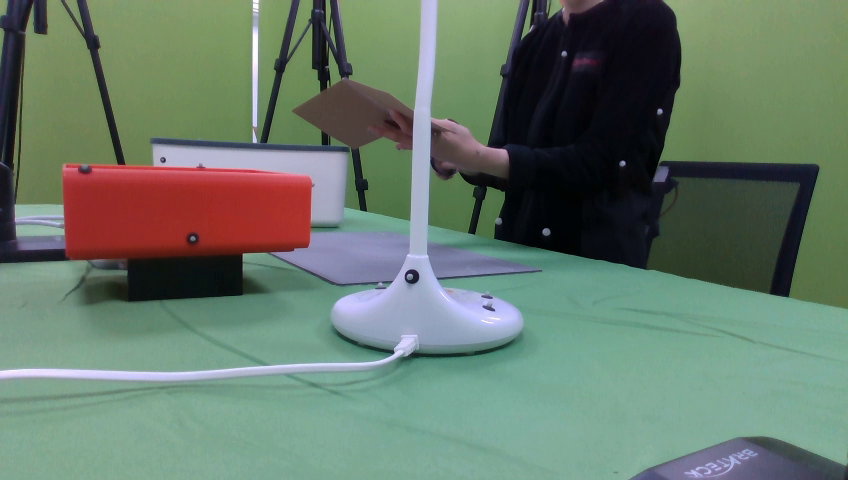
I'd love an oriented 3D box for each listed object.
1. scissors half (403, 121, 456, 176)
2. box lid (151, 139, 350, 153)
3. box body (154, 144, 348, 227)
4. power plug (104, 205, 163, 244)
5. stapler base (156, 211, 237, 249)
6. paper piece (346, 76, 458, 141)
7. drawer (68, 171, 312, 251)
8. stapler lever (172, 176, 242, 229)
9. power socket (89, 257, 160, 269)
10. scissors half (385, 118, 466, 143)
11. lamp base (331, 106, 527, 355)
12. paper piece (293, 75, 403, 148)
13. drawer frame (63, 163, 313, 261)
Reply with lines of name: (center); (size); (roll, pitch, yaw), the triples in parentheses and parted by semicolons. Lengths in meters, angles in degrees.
scissors half: (-0.002, -0.162, 0.986); (0.012, 0.040, 0.176); (11, -26, 49)
box lid: (-0.352, -0.191, 1.256); (0.373, 0.015, 0.262); (0, 8, -18)
box body: (-0.357, -0.119, 1.264); (0.365, 0.160, 0.253); (0, 7, -18)
power plug: (-0.390, -0.021, 0.815); (0.073, 0.052, 0.035); (-1, 7, -27)
stapler base: (-0.227, -0.017, 0.624); (0.041, 0.024, 0.130); (18, 10, -2)
paper piece: (-0.034, -0.187, 0.868); (0.139, 0.008, 0.135); (29, 4, -38)
drawer: (-0.247, -0.036, 0.629); (0.213, 0.073, 0.193); (-2, 9, -30)
stapler lever: (-0.217, -0.041, 0.618); (0.027, 0.040, 0.118); (18, 11, -2)
power socket: (-0.409, 0.004, 0.793); (0.072, 0.032, 0.225); (-2, 8, -38)
scissors half: (0.005, -0.184, 0.989); (0.176, 0.040, 0.013); (-2, 5, -42)
lamp base: (0.006, -0.012, 0.478); (0.161, 0.180, 0.179); (2, 10, 2)
paper piece: (-0.117, -0.198, 0.961); (0.136, 0.004, 0.135); (27, -31, -36)
drawer frame: (-0.248, -0.036, 0.626); (0.215, 0.082, 0.200); (-3, 9, -31)
